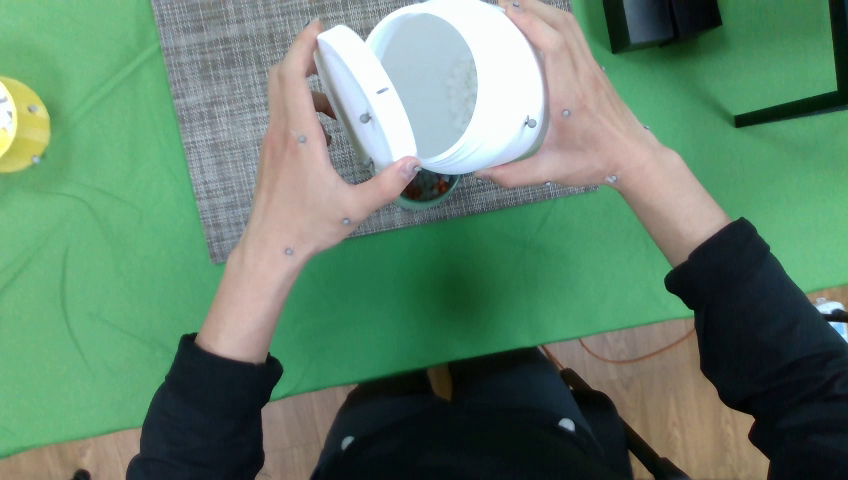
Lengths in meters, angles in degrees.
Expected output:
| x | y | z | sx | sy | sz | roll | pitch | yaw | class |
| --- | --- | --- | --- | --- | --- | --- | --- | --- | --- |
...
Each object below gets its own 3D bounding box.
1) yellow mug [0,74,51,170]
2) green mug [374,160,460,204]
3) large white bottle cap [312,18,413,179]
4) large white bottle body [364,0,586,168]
| x | y | z | sx | sy | sz | roll | pitch | yaw | class |
| --- | --- | --- | --- | --- | --- | --- | --- | --- | --- |
| -0.450 | -0.107 | 0.610 | 0.100 | 0.064 | 0.131 | 21 | 93 | -7 | yellow mug |
| -0.006 | -0.099 | 0.633 | 0.093 | 0.104 | 0.125 | 6 | 94 | -6 | green mug |
| -0.044 | -0.097 | 0.427 | 0.018 | 0.114 | 0.115 | -30 | 97 | -15 | large white bottle cap |
| 0.041 | -0.128 | 0.493 | 0.129 | 0.185 | 0.131 | 9 | 107 | 32 | large white bottle body |
